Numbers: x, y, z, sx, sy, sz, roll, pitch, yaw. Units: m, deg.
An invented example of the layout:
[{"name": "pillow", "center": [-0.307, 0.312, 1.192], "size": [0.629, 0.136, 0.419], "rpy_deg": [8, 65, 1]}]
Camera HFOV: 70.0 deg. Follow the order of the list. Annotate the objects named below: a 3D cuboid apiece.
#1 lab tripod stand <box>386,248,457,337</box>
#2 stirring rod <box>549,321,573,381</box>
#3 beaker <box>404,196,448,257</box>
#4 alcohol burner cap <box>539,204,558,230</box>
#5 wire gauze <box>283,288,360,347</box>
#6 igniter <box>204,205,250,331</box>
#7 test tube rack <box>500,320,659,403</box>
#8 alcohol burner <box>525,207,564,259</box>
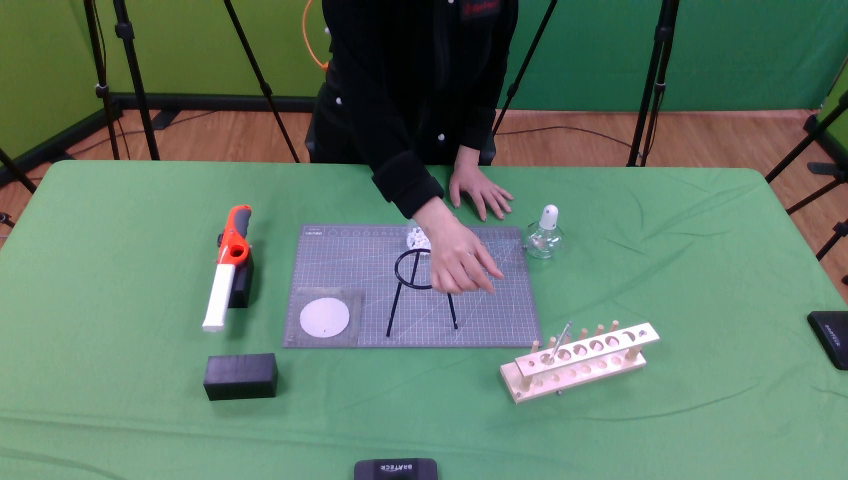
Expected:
[{"name": "lab tripod stand", "center": [-0.010, 0.087, 1.032], "size": [0.148, 0.132, 0.147], "rpy_deg": [1, 45, -1]}, {"name": "stirring rod", "center": [0.202, 0.167, 0.901], "size": [0.006, 0.177, 0.014], "rpy_deg": [-17, 55, -11]}, {"name": "beaker", "center": [0.001, -0.024, 1.164], "size": [0.084, 0.101, 0.073], "rpy_deg": [5, 46, 0]}, {"name": "alcohol burner cap", "center": [0.238, -0.045, 1.148], "size": [0.034, 0.048, 0.033], "rpy_deg": [2, 42, -1]}, {"name": "wire gauze", "center": [-0.178, 0.132, 1.063], "size": [0.125, 0.011, 0.120], "rpy_deg": [2, 46, 1]}, {"name": "igniter", "center": [-0.344, 0.039, 1.065], "size": [0.057, 0.025, 0.274], "rpy_deg": [2, 48, -6]}, {"name": "test tube rack", "center": [0.252, 0.187, 0.994], "size": [0.243, 0.085, 0.066], "rpy_deg": [-12, 48, -15]}, {"name": "alcohol burner", "center": [0.236, -0.020, 1.174], "size": [0.078, 0.120, 0.077], "rpy_deg": [1, 48, -1]}]
